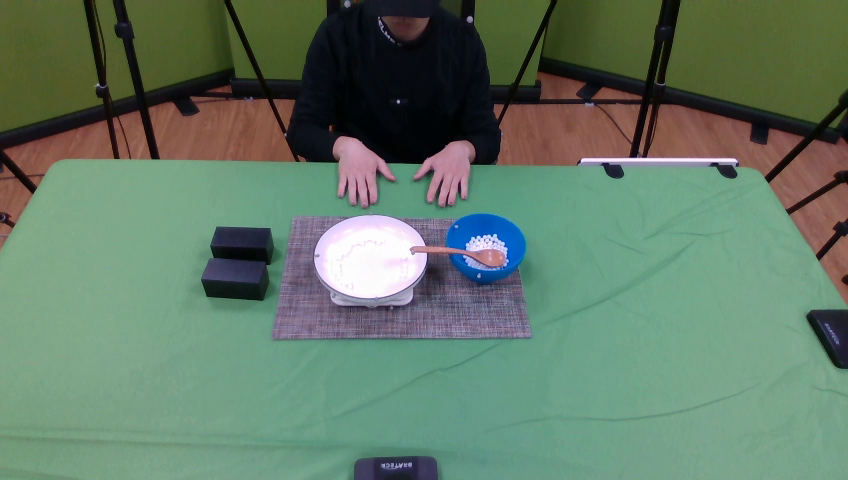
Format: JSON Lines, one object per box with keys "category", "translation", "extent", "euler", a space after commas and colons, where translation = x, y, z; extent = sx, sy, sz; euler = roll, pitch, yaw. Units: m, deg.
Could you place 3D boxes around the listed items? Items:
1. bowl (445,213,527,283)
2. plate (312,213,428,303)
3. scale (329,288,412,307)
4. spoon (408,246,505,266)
{"category": "bowl", "translation": [0.111, 0.027, 1.137], "extent": [0.151, 0.077, 0.150], "euler": [2, 46, -2]}
{"category": "plate", "translation": [-0.097, 0.036, 1.100], "extent": [0.209, 0.038, 0.208], "euler": [2, 46, -2]}
{"category": "scale", "translation": [-0.098, 0.042, 1.139], "extent": [0.149, 0.032, 0.199], "euler": [1, 46, -4]}
{"category": "spoon", "translation": [0.061, 0.023, 1.091], "extent": [0.194, 0.022, 0.041], "euler": [9, 49, -27]}
